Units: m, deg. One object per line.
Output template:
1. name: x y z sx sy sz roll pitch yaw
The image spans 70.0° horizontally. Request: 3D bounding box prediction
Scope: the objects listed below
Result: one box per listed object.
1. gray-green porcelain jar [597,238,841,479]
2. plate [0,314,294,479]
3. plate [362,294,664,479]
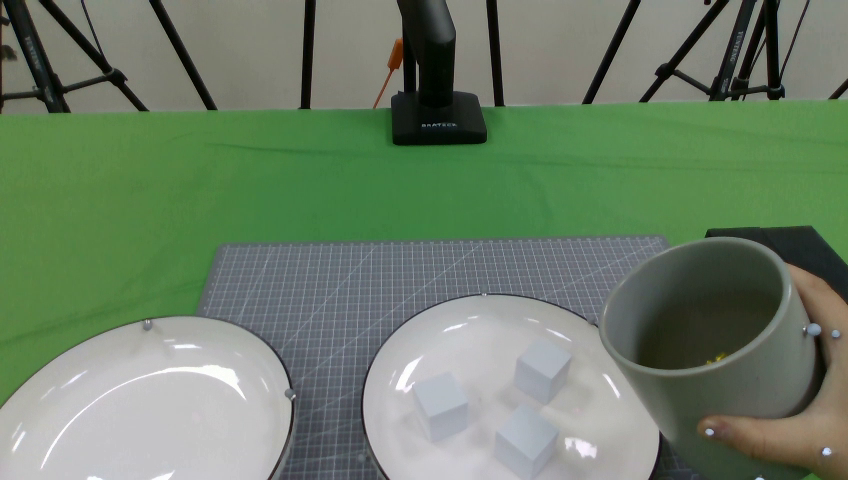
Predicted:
1. gray-green porcelain jar: 0.181 0.079 0.367 0.106 0.127 0.105 -30 26 17
2. plate: -0.191 0.138 0.413 0.209 0.038 0.207 0 40 1
3. plate: 0.061 0.125 0.436 0.208 0.039 0.205 1 40 0
